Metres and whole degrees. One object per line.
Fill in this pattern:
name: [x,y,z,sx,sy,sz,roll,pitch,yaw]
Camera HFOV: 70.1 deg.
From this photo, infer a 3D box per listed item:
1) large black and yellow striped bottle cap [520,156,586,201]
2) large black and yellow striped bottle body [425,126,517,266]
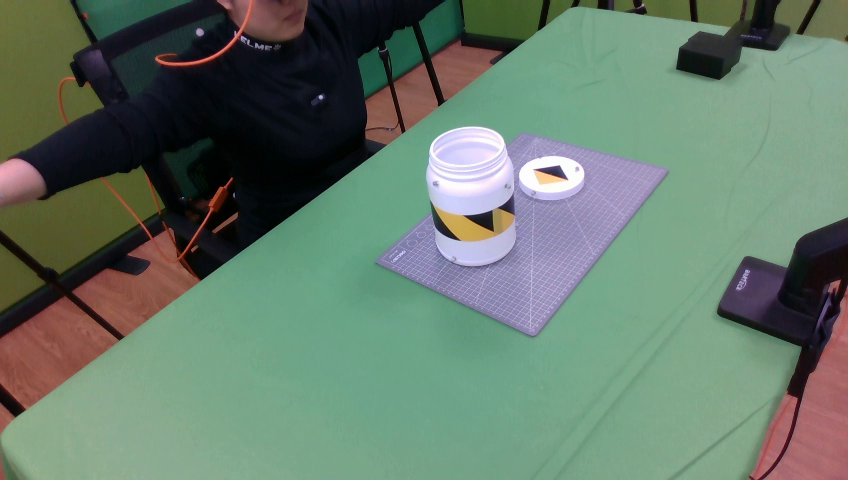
large black and yellow striped bottle cap: [0.228,-0.111,1.072,0.115,0.019,0.114,-6,40,6]
large black and yellow striped bottle body: [0.072,-0.066,0.917,0.131,0.185,0.130,-5,40,5]
